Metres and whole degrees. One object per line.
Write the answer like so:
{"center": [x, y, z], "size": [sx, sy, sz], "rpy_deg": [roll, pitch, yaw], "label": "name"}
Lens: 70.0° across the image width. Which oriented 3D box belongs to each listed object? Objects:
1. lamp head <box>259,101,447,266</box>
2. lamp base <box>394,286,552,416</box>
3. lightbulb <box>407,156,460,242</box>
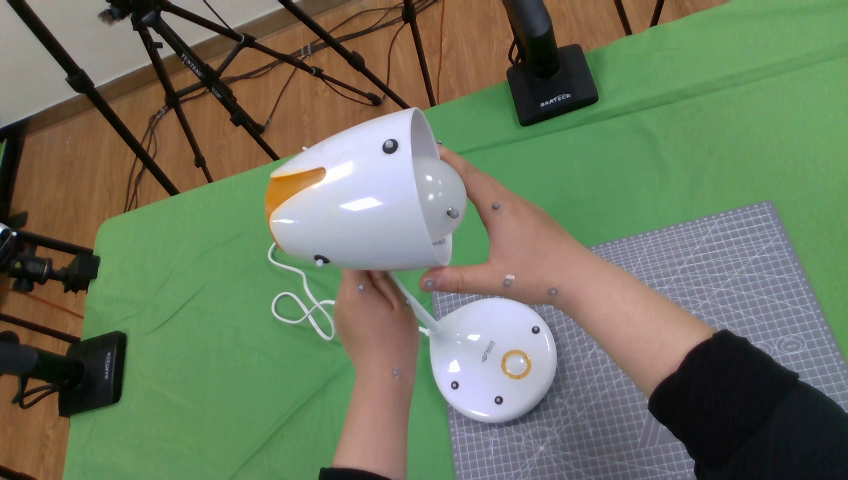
{"center": [-0.050, -0.029, 0.430], "size": [0.122, 0.113, 0.111], "rpy_deg": [-12, 62, 17], "label": "lamp head"}
{"center": [0.045, 0.108, 0.710], "size": [0.178, 0.182, 0.160], "rpy_deg": [9, 69, 28], "label": "lamp base"}
{"center": [-0.028, -0.022, 0.420], "size": [0.107, 0.060, 0.059], "rpy_deg": [-15, 61, 14], "label": "lightbulb"}
